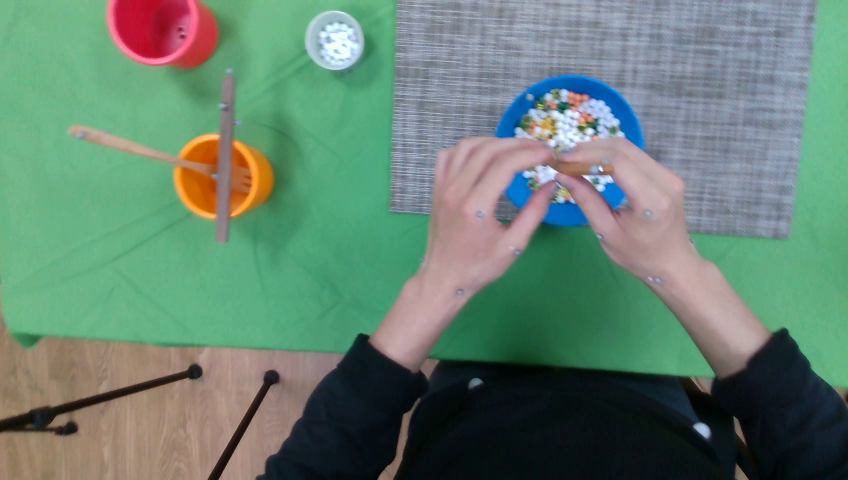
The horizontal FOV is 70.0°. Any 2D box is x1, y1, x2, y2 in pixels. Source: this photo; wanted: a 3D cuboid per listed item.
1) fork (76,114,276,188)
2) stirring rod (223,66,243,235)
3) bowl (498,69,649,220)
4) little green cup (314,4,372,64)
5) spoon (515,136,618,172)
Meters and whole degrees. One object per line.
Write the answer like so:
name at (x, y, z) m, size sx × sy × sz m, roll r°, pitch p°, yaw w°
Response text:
fork at (-0.255, -0.094, 0.645) m, size 0.209 × 0.018 × 0.028 m, roll 16°, pitch 104°, yaw -41°
stirring rod at (-0.201, -0.093, 0.639) m, size 0.014 × 0.006 × 0.176 m, roll 6°, pitch 99°, yaw 5°
bowl at (0.153, -0.099, 0.644) m, size 0.151 × 0.076 × 0.151 m, roll 1°, pitch 98°, yaw 5°
little green cup at (-0.087, -0.225, 0.670) m, size 0.061 × 0.038 × 0.061 m, roll 1°, pitch 98°, yaw 5°
spoon at (0.114, -0.068, 0.491) m, size 0.042 × 0.192 × 0.022 m, roll 13°, pitch 104°, yaw -10°
